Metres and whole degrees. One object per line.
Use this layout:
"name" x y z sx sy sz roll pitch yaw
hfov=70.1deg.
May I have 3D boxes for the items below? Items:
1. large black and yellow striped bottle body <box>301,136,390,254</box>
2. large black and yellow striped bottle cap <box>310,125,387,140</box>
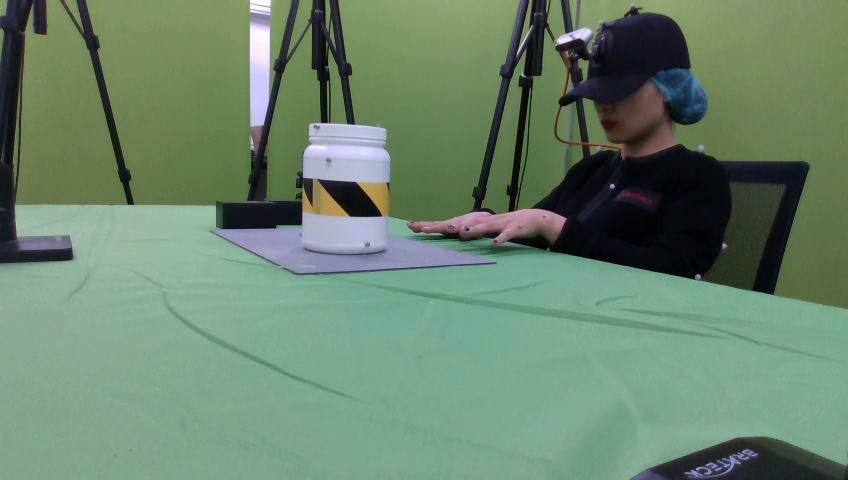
"large black and yellow striped bottle body" -0.117 -0.077 0.912 0.131 0.184 0.130 3 8 0
"large black and yellow striped bottle cap" -0.112 -0.160 0.901 0.115 0.019 0.115 1 8 0
